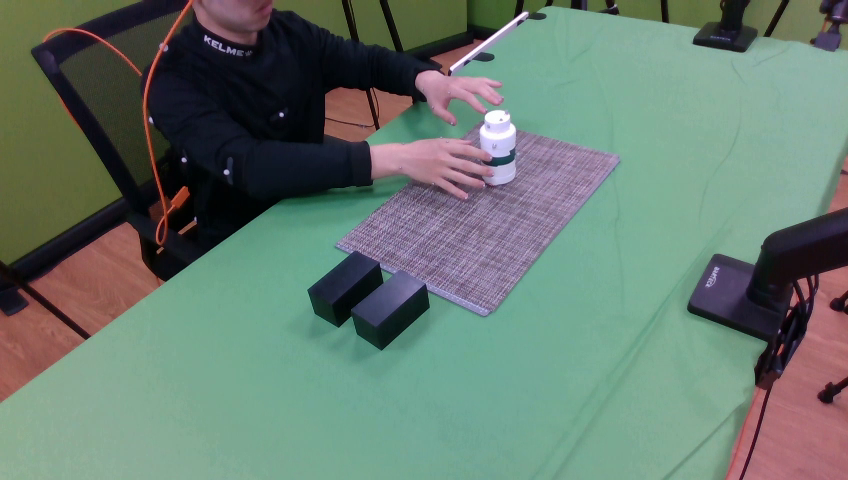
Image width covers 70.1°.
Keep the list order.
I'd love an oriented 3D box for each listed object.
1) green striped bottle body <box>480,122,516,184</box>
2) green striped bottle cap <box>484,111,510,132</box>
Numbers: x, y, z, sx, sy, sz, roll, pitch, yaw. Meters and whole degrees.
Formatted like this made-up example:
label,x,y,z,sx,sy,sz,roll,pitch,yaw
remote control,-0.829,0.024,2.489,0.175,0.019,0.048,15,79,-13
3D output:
label,x,y,z,sx,sy,sz,roll,pitch,yaw
green striped bottle body,0.130,-0.162,1.058,0.063,0.120,0.063,-4,41,4
green striped bottle cap,0.123,-0.201,1.024,0.044,0.020,0.044,-4,38,3
